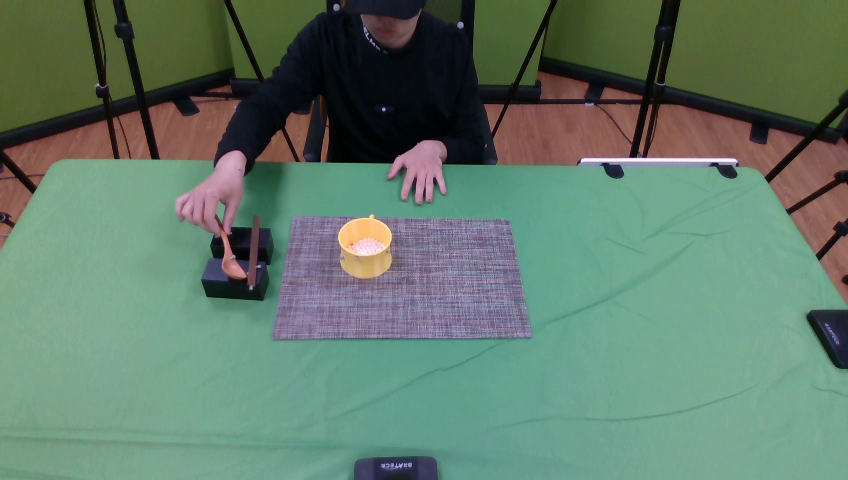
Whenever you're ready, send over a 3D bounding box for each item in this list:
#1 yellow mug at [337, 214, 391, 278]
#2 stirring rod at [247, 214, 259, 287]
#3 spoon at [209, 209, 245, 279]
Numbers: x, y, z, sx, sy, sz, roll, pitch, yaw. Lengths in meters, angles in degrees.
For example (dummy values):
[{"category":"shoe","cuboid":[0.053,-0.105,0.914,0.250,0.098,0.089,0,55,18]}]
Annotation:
[{"category":"yellow mug","cuboid":[-0.110,0.003,1.152,0.100,0.064,0.130,7,45,2]},{"category":"stirring rod","cuboid":[-0.309,0.016,1.096,0.014,0.006,0.175,27,35,-33]},{"category":"spoon","cuboid":[-0.359,0.004,1.091,0.042,0.021,0.192,17,33,-44]}]
